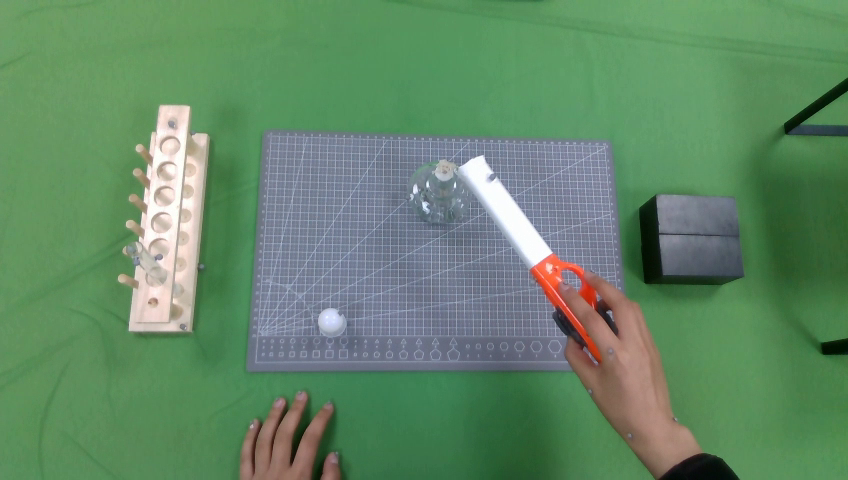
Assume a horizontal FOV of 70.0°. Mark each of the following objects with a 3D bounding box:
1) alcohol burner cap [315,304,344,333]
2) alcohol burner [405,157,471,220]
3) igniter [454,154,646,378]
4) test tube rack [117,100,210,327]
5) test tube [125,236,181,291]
[{"bbox_3d":[-0.109,0.087,0.688,0.034,0.048,0.033,2,76,-6],"label":"alcohol burner cap"},{"bbox_3d":[0.018,-0.066,0.702,0.078,0.119,0.077,1,76,-3],"label":"alcohol burner"},{"bbox_3d":[0.125,0.027,0.613,0.057,0.025,0.275,-35,82,-16],"label":"igniter"},{"bbox_3d":[-0.296,-0.028,0.681,0.067,0.085,0.241,1,75,-4],"label":"test tube rack"},{"bbox_3d":[-0.273,0.027,0.617,0.017,0.151,0.017,3,70,-7],"label":"test tube"}]
